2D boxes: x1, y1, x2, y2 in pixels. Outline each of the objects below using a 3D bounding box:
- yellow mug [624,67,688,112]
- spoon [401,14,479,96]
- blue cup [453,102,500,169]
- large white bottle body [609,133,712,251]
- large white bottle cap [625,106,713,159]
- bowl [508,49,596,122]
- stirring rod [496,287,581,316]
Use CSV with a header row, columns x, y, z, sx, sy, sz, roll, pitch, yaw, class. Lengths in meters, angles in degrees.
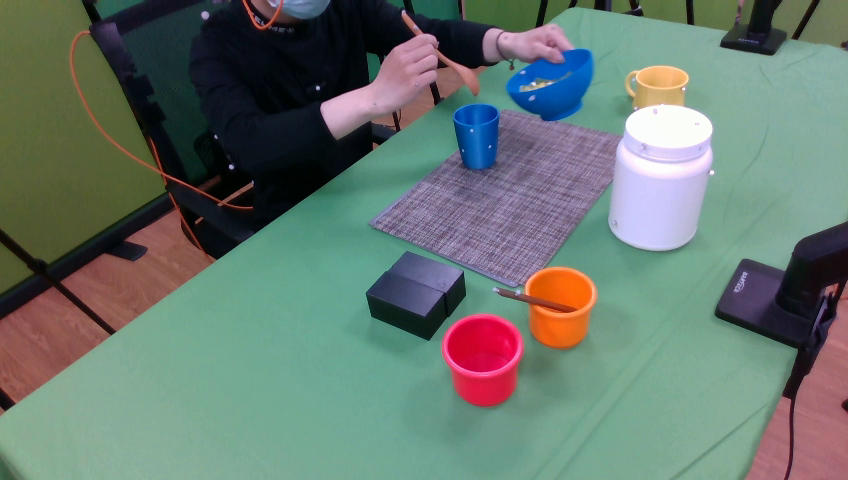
x,y,z,sx,sy,sz,roll,pitch,yaw,class
0.464,-0.306,1.230,0.100,0.064,0.129,-34,46,-27,yellow mug
0.030,-0.310,1.018,0.021,0.195,0.041,-26,42,42,spoon
0.099,-0.188,1.115,0.092,0.100,0.092,-4,39,4,blue cup
0.351,-0.090,0.904,0.130,0.185,0.130,-5,41,4,large white bottle body
0.342,-0.153,0.848,0.115,0.018,0.114,-4,41,4,large white bottle cap
0.226,-0.255,1.031,0.151,0.077,0.151,-20,29,12,bowl
0.150,0.080,0.773,0.178,0.006,0.014,17,21,-42,stirring rod
